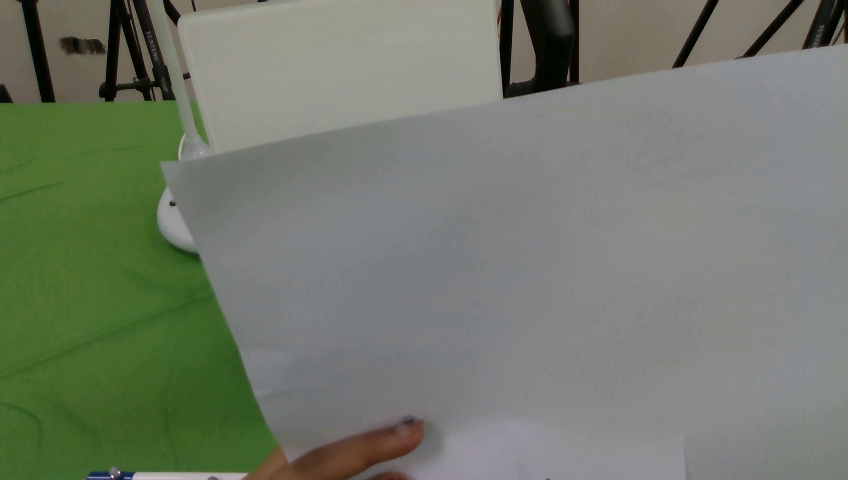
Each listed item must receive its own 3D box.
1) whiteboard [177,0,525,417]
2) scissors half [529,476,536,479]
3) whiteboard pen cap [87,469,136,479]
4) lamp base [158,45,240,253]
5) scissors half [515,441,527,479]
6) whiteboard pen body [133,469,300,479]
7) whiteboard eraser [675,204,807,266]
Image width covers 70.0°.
[{"bbox_3d":[-0.052,-0.045,0.517,0.218,0.307,0.142,-15,23,-15],"label":"whiteboard"},{"bbox_3d":[0.062,0.173,0.291,0.013,0.177,0.040,-16,31,-4],"label":"scissors half"},{"bbox_3d":[-0.219,0.171,0.430,0.033,0.018,0.018,0,40,-3],"label":"whiteboard pen cap"},{"bbox_3d":[-0.225,-0.103,0.638,0.177,0.182,0.160,28,48,32],"label":"lamp base"},{"bbox_3d":[0.063,0.176,0.266,0.013,0.040,0.174,-14,79,0],"label":"scissors half"},{"bbox_3d":[-0.160,0.172,0.432,0.141,0.017,0.017,1,40,-1],"label":"whiteboard pen body"},{"bbox_3d":[0.321,-0.004,0.618,0.113,0.042,0.055,-7,42,-7],"label":"whiteboard eraser"}]
